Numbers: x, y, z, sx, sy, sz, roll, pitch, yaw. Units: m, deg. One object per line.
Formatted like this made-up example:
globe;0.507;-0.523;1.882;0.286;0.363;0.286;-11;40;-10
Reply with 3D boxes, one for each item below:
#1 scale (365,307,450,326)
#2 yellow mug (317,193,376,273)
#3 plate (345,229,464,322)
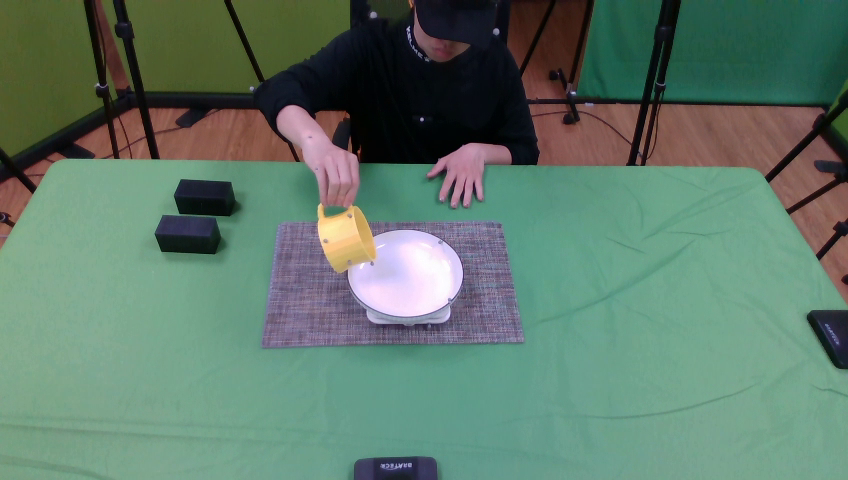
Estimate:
scale;-0.032;0.071;1.113;0.149;0.032;0.199;0;46;-4
yellow mug;-0.134;-0.017;1.010;0.064;0.131;0.099;-20;14;6
plate;-0.034;0.065;1.073;0.209;0.038;0.208;2;46;-2
